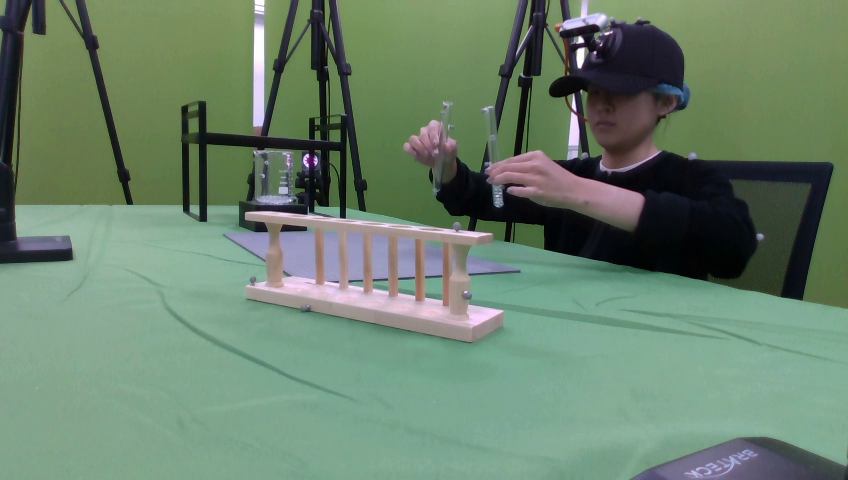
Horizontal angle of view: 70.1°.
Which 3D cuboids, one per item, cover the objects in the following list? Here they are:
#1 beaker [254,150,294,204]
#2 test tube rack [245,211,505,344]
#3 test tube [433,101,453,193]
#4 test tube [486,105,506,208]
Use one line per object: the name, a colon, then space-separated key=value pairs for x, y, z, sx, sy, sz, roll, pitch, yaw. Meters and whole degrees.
beaker: x=-0.289 y=-0.120 z=1.151 sx=0.073 sy=0.100 sz=0.084 roll=8 pitch=9 yaw=33
test tube rack: x=-0.049 y=0.024 z=0.547 sx=0.241 sy=0.085 sz=0.067 roll=7 pitch=8 yaw=29
test tube: x=0.030 y=-0.147 z=0.970 sx=0.017 sy=0.150 sz=0.017 roll=6 pitch=24 yaw=-2
test tube: x=0.105 y=-0.121 z=0.884 sx=0.017 sy=0.150 sz=0.017 roll=-6 pitch=7 yaw=1
